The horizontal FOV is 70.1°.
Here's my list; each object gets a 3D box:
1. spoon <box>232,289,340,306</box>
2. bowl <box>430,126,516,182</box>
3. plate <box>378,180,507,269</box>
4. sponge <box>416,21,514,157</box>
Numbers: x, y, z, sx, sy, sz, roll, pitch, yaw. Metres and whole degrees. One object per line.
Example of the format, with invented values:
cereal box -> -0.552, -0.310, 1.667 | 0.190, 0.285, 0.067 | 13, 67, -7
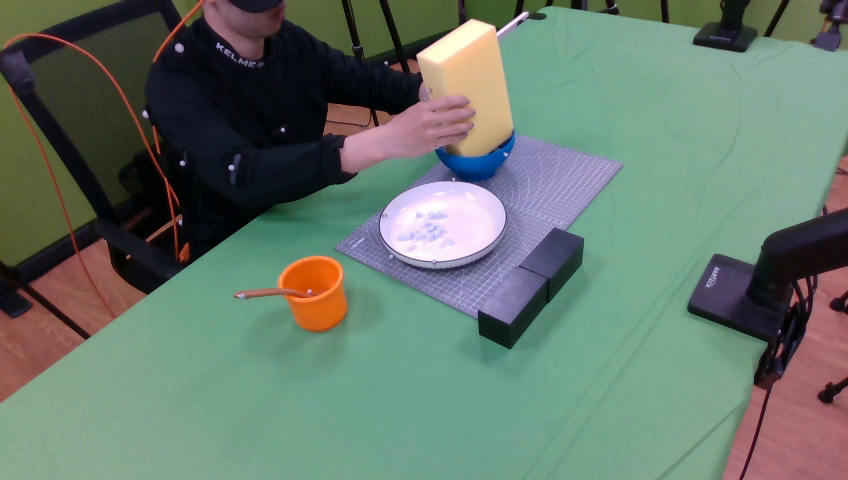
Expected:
spoon -> -0.181, 0.074, 0.811 | 0.041, 0.195, 0.021 | 16, 90, 31
bowl -> 0.091, -0.158, 1.093 | 0.151, 0.077, 0.150 | -5, 41, 4
plate -> 0.031, -0.022, 0.974 | 0.209, 0.038, 0.208 | -4, 40, 4
sponge -> 0.074, -0.237, 1.009 | 0.118, 0.208, 0.060 | -36, 45, -18
